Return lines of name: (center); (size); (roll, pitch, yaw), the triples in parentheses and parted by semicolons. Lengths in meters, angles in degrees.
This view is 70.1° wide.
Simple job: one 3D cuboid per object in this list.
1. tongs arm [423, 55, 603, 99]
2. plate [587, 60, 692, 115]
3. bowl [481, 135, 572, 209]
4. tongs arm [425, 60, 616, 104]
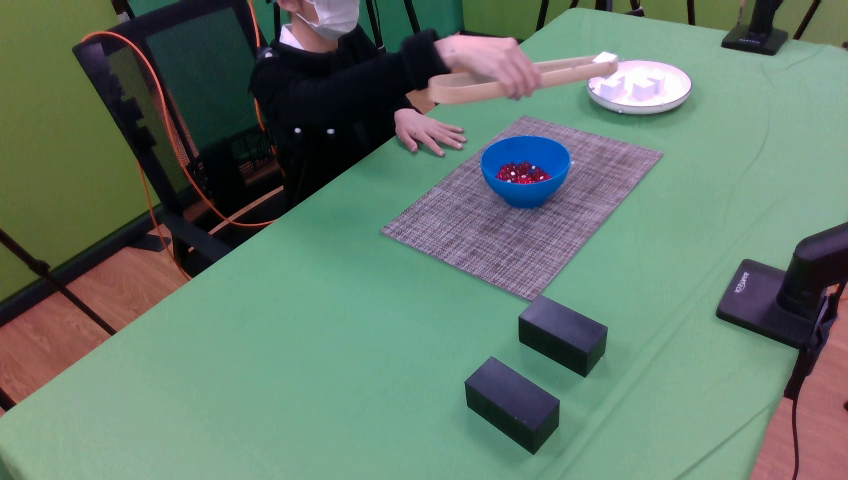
tongs arm: (0.158, -0.275, 1.000); (0.390, 0.028, 0.028); (-16, 43, -29)
plate: (0.445, -0.313, 1.263); (0.209, 0.038, 0.208); (-5, 40, 4)
bowl: (0.172, -0.106, 1.025); (0.151, 0.077, 0.150); (-4, 40, 4)
tongs arm: (0.170, -0.263, 0.984); (0.387, 0.026, 0.050); (-19, 42, -32)
